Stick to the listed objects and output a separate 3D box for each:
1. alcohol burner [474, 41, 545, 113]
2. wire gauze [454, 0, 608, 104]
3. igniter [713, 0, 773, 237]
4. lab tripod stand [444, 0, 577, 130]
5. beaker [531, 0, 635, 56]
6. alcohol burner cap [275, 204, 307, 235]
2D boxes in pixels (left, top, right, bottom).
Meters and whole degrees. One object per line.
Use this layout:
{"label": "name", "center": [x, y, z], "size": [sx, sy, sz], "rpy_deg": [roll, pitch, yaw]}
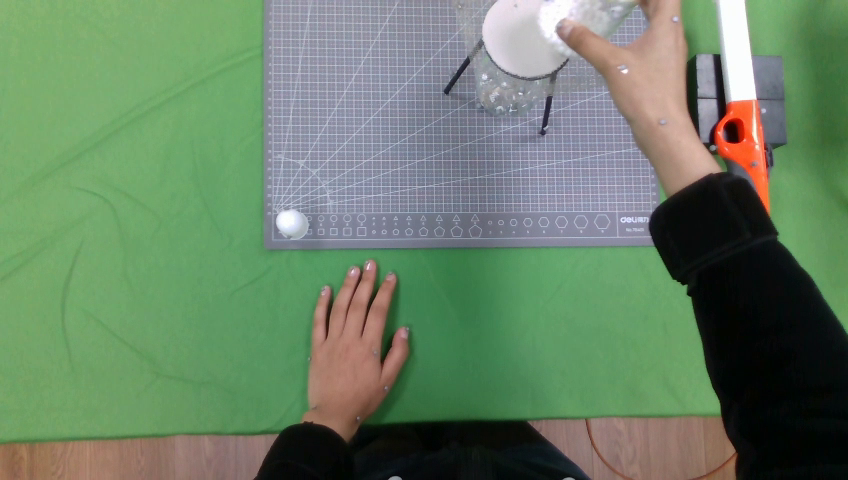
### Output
{"label": "alcohol burner", "center": [0.094, -0.179, 0.644], "size": [0.078, 0.119, 0.078], "rpy_deg": [0, 86, -3]}
{"label": "wire gauze", "center": [0.100, -0.195, 0.569], "size": [0.125, 0.011, 0.121], "rpy_deg": [-14, 86, -4]}
{"label": "igniter", "center": [0.341, -0.141, 0.655], "size": [0.057, 0.025, 0.276], "rpy_deg": [-3, 84, 8]}
{"label": "lab tripod stand", "center": [0.098, -0.195, 0.636], "size": [0.148, 0.131, 0.148], "rpy_deg": [0, 83, -2]}
{"label": "beaker", "center": [0.133, -0.206, 0.503], "size": [0.084, 0.100, 0.073], "rpy_deg": [3, 79, -7]}
{"label": "alcohol burner cap", "center": [-0.145, -0.024, 0.653], "size": [0.034, 0.048, 0.034], "rpy_deg": [0, 85, -4]}
